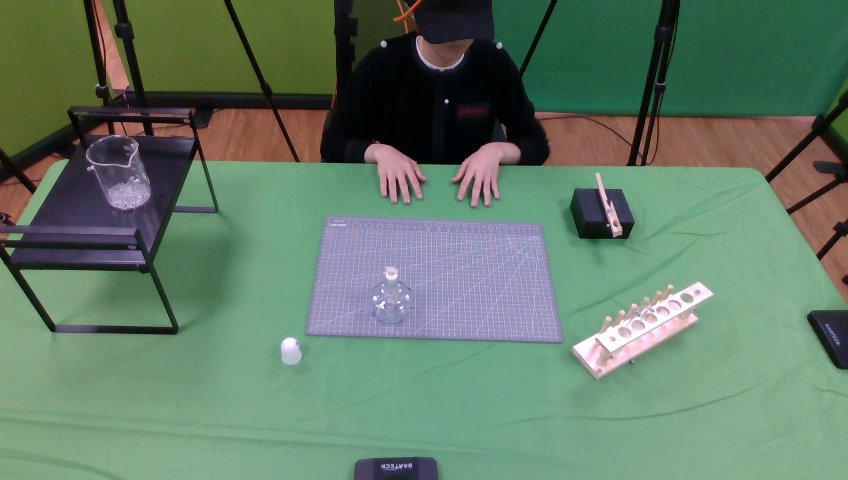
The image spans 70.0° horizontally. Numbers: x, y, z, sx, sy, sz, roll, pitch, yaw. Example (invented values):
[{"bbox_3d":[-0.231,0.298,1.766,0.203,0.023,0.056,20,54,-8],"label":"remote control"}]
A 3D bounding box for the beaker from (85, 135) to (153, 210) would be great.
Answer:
[{"bbox_3d":[-0.475,-0.102,0.957,0.083,0.101,0.074,34,53,26],"label":"beaker"}]

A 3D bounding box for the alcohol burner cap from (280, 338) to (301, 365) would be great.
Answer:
[{"bbox_3d":[-0.220,0.179,0.993,0.034,0.048,0.033,2,46,-2],"label":"alcohol burner cap"}]

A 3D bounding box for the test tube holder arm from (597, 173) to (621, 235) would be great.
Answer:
[{"bbox_3d":[0.373,-0.076,1.228,0.013,0.015,0.177,-6,45,3],"label":"test tube holder arm"}]

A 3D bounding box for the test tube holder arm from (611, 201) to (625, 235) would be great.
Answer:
[{"bbox_3d":[0.380,-0.045,1.196,0.010,0.015,0.087,-6,45,3],"label":"test tube holder arm"}]

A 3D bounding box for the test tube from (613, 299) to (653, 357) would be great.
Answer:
[{"bbox_3d":[0.329,0.143,0.963,0.017,0.151,0.017,4,48,-4],"label":"test tube"}]

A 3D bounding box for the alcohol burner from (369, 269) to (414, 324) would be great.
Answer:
[{"bbox_3d":[-0.056,0.089,1.037,0.078,0.120,0.077,1,47,-1],"label":"alcohol burner"}]

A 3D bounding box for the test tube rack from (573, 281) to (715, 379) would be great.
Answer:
[{"bbox_3d":[0.378,0.140,1.038,0.242,0.085,0.066,-22,51,-23],"label":"test tube rack"}]
